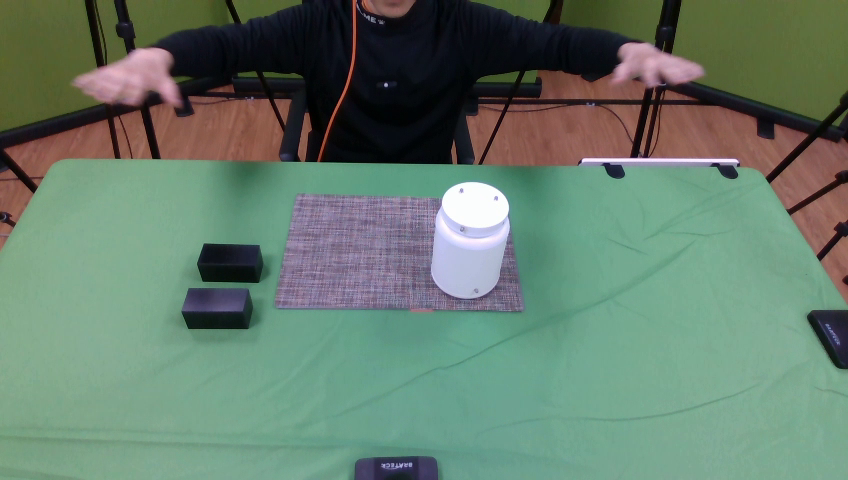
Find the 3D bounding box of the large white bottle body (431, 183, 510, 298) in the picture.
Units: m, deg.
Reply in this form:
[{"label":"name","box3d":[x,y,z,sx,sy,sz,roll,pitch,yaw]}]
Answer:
[{"label":"large white bottle body","box3d":[0.082,0.000,1.084,0.131,0.185,0.130,2,47,-2]}]

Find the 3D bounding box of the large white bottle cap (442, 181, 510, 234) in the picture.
[{"label":"large white bottle cap","box3d":[0.087,-0.057,1.022,0.115,0.018,0.114,2,47,-2]}]
